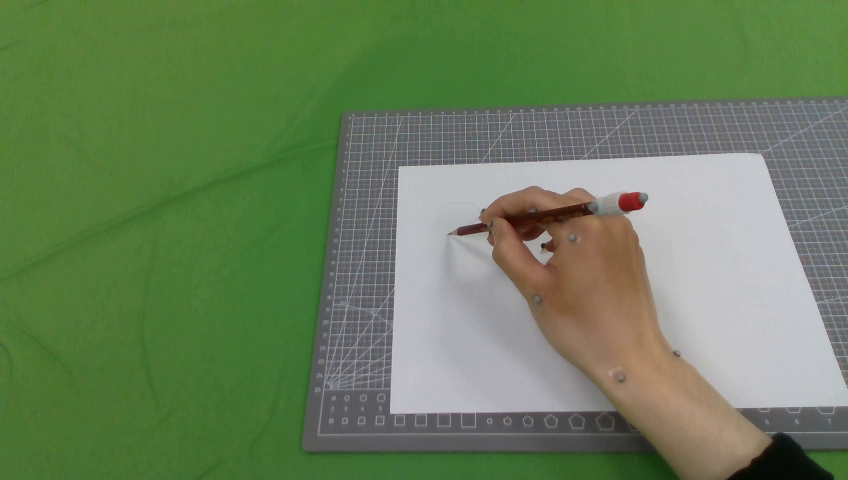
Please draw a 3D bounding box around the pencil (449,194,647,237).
[{"bbox_3d":[0.063,-0.011,0.382,0.012,0.193,0.012,2,85,-27],"label":"pencil"}]
